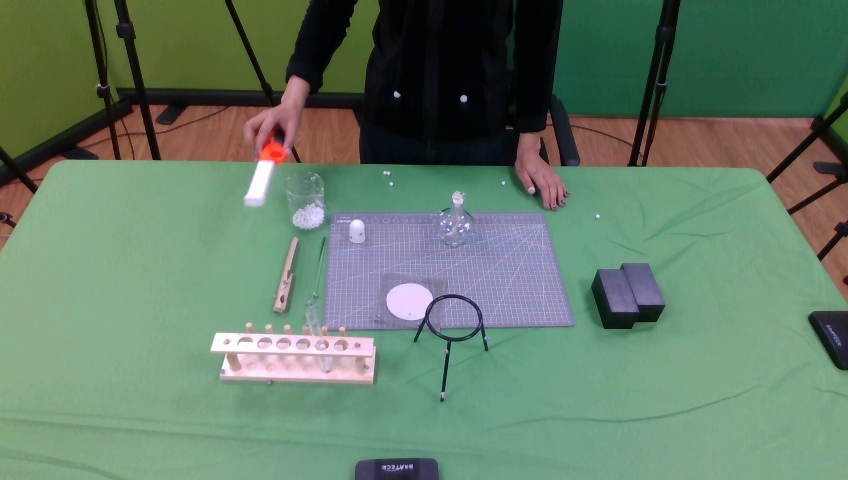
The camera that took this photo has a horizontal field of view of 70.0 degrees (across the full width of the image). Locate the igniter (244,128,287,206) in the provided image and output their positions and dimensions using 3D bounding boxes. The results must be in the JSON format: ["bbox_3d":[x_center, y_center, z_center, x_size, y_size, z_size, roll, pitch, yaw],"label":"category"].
[{"bbox_3d":[-0.299,-0.147,1.154,0.057,0.025,0.275,4,36,-6],"label":"igniter"}]

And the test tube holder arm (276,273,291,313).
[{"bbox_3d":[-0.253,0.093,1.094,0.010,0.015,0.087,27,39,-25],"label":"test tube holder arm"}]

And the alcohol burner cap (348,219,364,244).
[{"bbox_3d":[-0.134,-0.019,1.190,0.034,0.048,0.033,2,46,-2],"label":"alcohol burner cap"}]

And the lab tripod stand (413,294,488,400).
[{"bbox_3d":[0.044,0.159,0.972,0.148,0.132,0.147,2,44,-2],"label":"lab tripod stand"}]

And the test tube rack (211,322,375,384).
[{"bbox_3d":[-0.203,0.176,0.969,0.242,0.085,0.066,3,46,-2],"label":"test tube rack"}]

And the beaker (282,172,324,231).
[{"bbox_3d":[-0.234,-0.073,1.199,0.084,0.101,0.074,24,50,17],"label":"beaker"}]

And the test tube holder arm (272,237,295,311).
[{"bbox_3d":[-0.258,0.059,1.123,0.013,0.015,0.177,27,39,-25],"label":"test tube holder arm"}]

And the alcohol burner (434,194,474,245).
[{"bbox_3d":[0.061,-0.046,1.183,0.078,0.119,0.077,3,47,-3],"label":"alcohol burner"}]

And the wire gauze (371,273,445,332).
[{"bbox_3d":[-0.028,0.108,1.100,0.125,0.011,0.121,7,45,4],"label":"wire gauze"}]

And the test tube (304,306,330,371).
[{"bbox_3d":[-0.162,0.153,0.925,0.017,0.151,0.017,-2,44,2],"label":"test tube"}]

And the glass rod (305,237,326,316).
[{"bbox_3d":[-0.202,0.063,1.131,0.008,0.008,0.198,3,44,0],"label":"glass rod"}]
